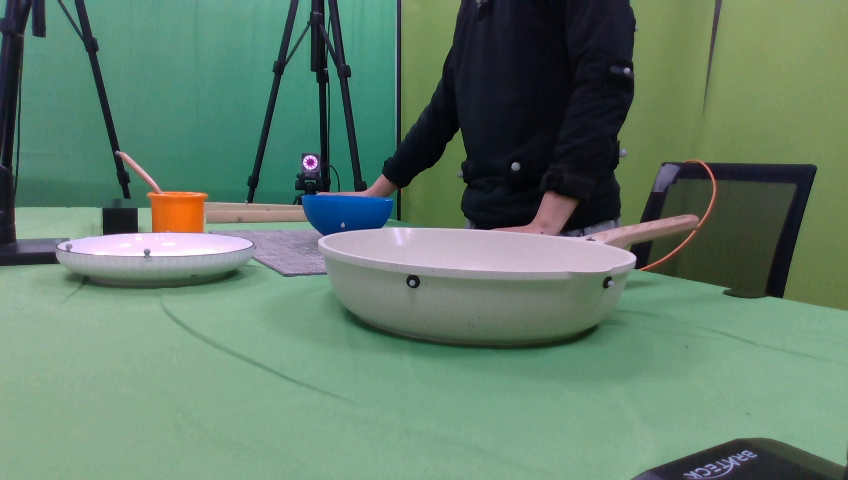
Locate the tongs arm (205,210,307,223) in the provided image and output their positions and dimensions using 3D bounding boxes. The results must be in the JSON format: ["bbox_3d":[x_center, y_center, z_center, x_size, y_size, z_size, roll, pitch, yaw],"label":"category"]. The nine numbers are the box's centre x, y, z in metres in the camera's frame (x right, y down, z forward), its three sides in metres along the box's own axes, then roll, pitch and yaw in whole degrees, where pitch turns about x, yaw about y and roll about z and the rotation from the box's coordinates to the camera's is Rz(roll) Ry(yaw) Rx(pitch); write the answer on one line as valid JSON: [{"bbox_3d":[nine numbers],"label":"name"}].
[{"bbox_3d":[-0.297,-0.057,1.360,0.390,0.028,0.028,-3,7,-39],"label":"tongs arm"}]

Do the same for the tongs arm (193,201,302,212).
[{"bbox_3d":[-0.338,-0.072,1.429,0.387,0.026,0.050,0,9,-26],"label":"tongs arm"}]

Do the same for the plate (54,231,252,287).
[{"bbox_3d":[-0.309,0.020,0.705,0.208,0.039,0.207,3,7,0],"label":"plate"}]

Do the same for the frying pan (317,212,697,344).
[{"bbox_3d":[0.133,0.013,0.629,0.490,0.102,0.305,-12,14,-31],"label":"frying pan"}]

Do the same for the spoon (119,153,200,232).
[{"bbox_3d":[-0.439,-0.077,1.000,0.021,0.193,0.042,-43,-7,21],"label":"spoon"}]

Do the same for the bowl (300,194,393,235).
[{"bbox_3d":[-0.128,-0.034,0.995,0.151,0.077,0.151,2,7,0],"label":"bowl"}]
